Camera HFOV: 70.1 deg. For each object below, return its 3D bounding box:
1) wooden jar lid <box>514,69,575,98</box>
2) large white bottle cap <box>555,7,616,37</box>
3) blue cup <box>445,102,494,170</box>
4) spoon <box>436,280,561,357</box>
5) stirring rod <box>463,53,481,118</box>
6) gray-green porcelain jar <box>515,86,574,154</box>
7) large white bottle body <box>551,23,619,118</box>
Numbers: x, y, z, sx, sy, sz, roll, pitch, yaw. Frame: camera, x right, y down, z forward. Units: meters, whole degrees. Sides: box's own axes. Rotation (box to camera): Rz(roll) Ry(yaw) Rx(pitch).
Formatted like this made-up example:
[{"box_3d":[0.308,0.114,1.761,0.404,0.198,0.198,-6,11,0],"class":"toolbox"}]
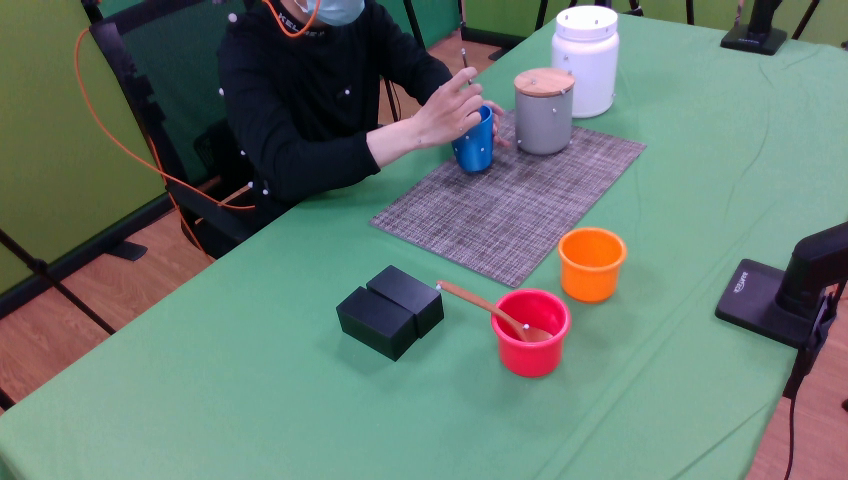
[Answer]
[{"box_3d":[0.216,-0.279,1.088,0.108,0.021,0.108,-3,38,3],"class":"wooden jar lid"},{"box_3d":[0.311,-0.420,1.163,0.115,0.018,0.114,-4,40,4],"class":"large white bottle cap"},{"box_3d":[0.087,-0.182,1.084,0.092,0.101,0.092,-7,40,7],"class":"blue cup"},{"box_3d":[0.096,0.095,0.757,0.195,0.021,0.041,34,42,-20],"class":"spoon"},{"box_3d":[0.088,-0.240,1.046,0.006,0.177,0.014,-9,40,13],"class":"stirring rod"},{"box_3d":[0.223,-0.232,1.129,0.106,0.127,0.105,-4,40,4],"class":"gray-green porcelain jar"},{"box_3d":[0.321,-0.356,1.218,0.130,0.185,0.130,-4,41,4],"class":"large white bottle body"}]
